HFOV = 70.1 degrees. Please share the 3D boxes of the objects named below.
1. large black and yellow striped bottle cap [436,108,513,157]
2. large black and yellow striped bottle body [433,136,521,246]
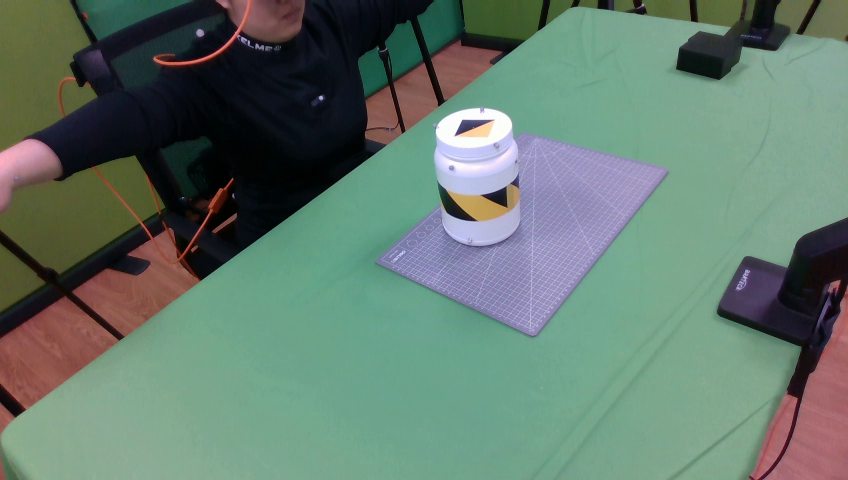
[{"bbox_3d":[0.075,-0.162,0.898,0.115,0.019,0.114,-5,41,5],"label":"large black and yellow striped bottle cap"},{"bbox_3d":[0.085,-0.097,0.951,0.131,0.185,0.130,-5,40,5],"label":"large black and yellow striped bottle body"}]
